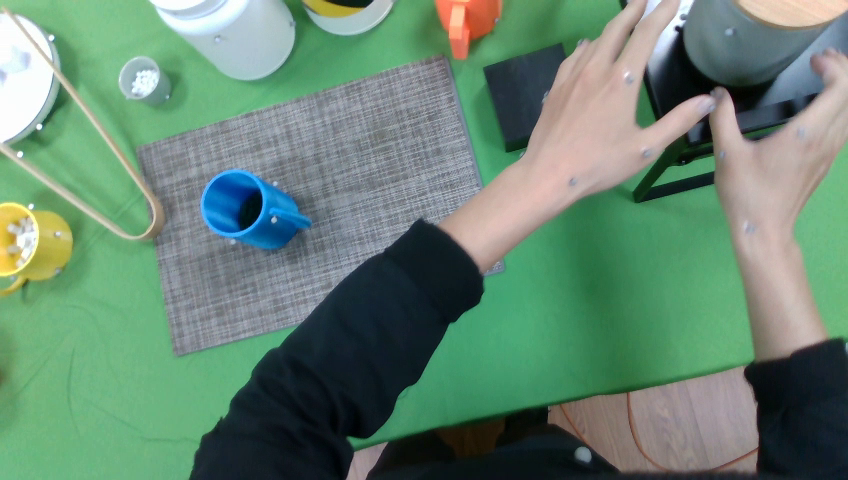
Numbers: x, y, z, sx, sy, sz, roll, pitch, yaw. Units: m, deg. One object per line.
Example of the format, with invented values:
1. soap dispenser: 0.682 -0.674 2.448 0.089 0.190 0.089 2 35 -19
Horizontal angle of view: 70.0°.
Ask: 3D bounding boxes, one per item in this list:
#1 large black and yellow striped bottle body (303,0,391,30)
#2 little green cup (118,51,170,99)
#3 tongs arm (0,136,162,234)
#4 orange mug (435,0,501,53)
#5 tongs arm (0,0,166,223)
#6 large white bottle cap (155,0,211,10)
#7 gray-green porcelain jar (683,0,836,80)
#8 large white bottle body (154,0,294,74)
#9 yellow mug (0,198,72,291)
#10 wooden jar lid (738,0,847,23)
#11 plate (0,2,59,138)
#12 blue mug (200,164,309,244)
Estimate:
1. large black and yellow striped bottle body: -0.116 -0.362 0.751 0.130 0.185 0.130 -1 82 9
2. little green cup: -0.390 -0.228 0.848 0.061 0.039 0.061 -1 84 8
3. tongs arm: -0.529 -0.120 0.835 0.384 0.026 0.050 37 85 4
4. orange mug: 0.050 -0.307 0.764 0.083 0.101 0.126 8 80 10
5. tongs arm: -0.472 -0.183 0.838 0.028 0.028 0.387 -38 86 -7
6. large white bottle cap: -0.269 -0.316 0.681 0.114 0.018 0.114 -1 83 9
7. gray-green porcelain jar: 0.288 -0.205 0.520 0.106 0.127 0.105 -1 83 9
8. large white bottle body: -0.256 -0.305 0.764 0.130 0.185 0.130 -1 82 9
9. yellow mug: -0.557 0.010 0.829 0.099 0.064 0.130 24 88 10
10. wooden jar lid: 0.278 -0.213 0.458 0.108 0.021 0.108 -1 82 8
11. plate: -0.623 -0.242 0.884 0.207 0.039 0.207 -1 83 8
12. blue mug: -0.202 -0.040 0.760 0.116 0.106 0.082 11 84 10
